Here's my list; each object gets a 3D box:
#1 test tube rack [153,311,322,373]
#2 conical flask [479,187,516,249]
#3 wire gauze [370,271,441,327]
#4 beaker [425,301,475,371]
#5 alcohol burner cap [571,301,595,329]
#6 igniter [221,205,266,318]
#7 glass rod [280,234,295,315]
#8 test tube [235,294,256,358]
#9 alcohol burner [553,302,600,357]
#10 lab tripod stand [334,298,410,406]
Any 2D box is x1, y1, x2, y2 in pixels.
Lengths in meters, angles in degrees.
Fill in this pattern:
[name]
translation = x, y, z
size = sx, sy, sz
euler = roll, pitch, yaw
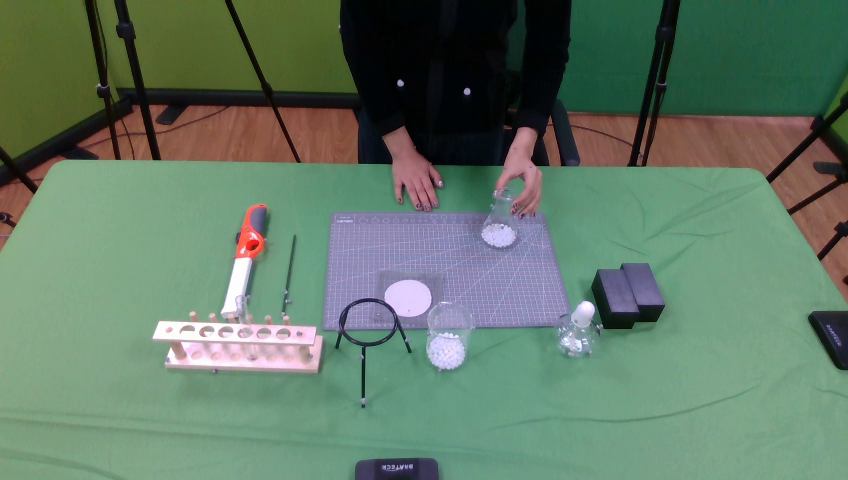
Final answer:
[test tube rack]
translation = -0.293, 0.160, 0.978
size = 0.242, 0.085, 0.066
euler = 3, 46, -2
[conical flask]
translation = 0.151, -0.048, 1.185
size = 0.075, 0.122, 0.075
euler = 2, 46, -2
[wire gauze]
translation = -0.032, 0.103, 1.105
size = 0.125, 0.011, 0.121
euler = 4, 46, 3
[beaker]
translation = 0.038, 0.159, 0.996
size = 0.074, 0.101, 0.083
euler = -13, 48, -17
[alcohol burner cap]
translation = 0.262, 0.120, 0.991
size = 0.034, 0.048, 0.033
euler = 2, 52, -2
[igniter]
translation = -0.338, 0.030, 1.140
size = 0.057, 0.025, 0.274
euler = -5, 46, 3
[glass rod]
translation = -0.253, 0.060, 1.132
size = 0.008, 0.008, 0.198
euler = 0, 46, -4
[test tube]
translation = -0.274, 0.136, 0.933
size = 0.017, 0.151, 0.017
euler = 4, 46, -4
[alcohol burner]
translation = 0.260, 0.143, 1.018
size = 0.078, 0.119, 0.077
euler = 3, 45, -3
[lab tripod stand]
translation = -0.086, 0.164, 0.957
size = 0.148, 0.132, 0.147
euler = 3, 44, -2
